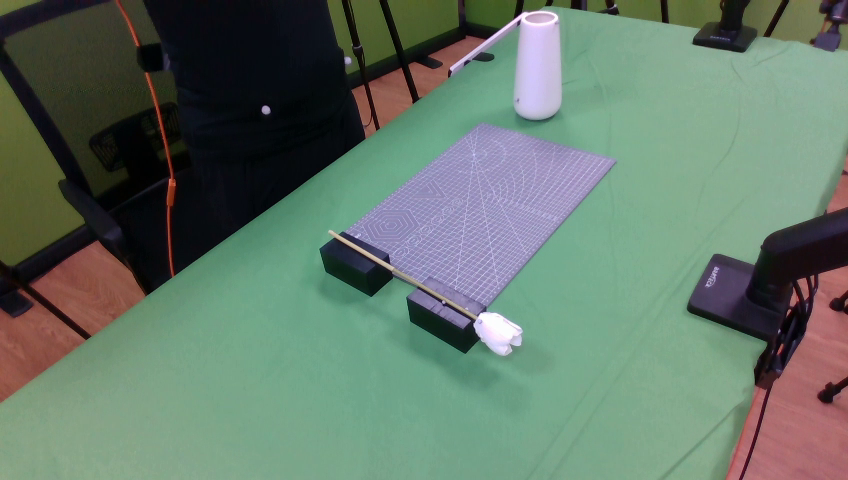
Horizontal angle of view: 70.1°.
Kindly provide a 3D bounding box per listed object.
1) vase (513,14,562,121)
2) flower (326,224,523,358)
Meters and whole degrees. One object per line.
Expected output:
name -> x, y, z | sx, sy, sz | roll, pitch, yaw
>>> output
vase -> 0.225, -0.336, 1.196 | 0.098, 0.201, 0.097 | -5, 42, 5
flower -> -0.018, 0.054, 0.836 | 0.359, 0.038, 0.044 | 31, 84, 32
